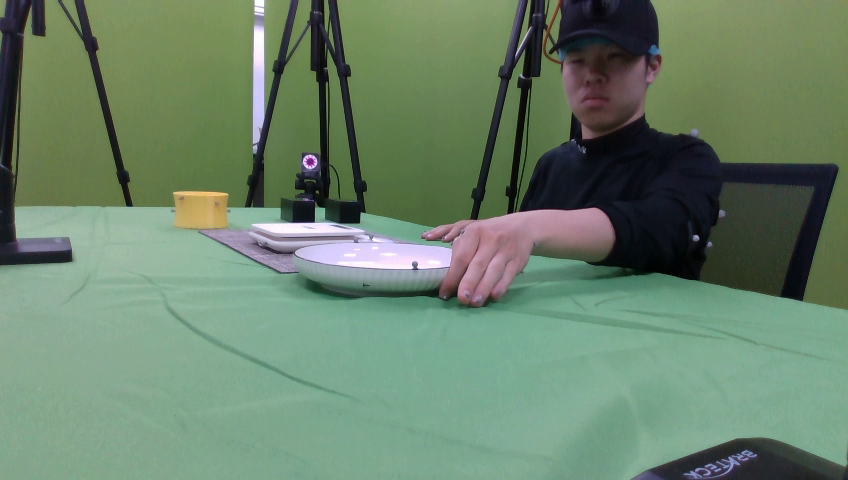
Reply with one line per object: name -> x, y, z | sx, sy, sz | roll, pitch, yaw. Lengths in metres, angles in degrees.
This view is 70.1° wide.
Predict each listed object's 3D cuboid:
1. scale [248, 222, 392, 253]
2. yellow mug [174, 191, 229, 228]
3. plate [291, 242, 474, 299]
scale -> -0.162, -0.006, 0.954 | 0.202, 0.031, 0.148 | -1, 9, -32
yellow mug -> -0.427, -0.063, 1.189 | 0.100, 0.064, 0.131 | 5, 7, 14
plate -> -0.047, 0.033, 0.693 | 0.209, 0.038, 0.209 | 3, 7, 0
